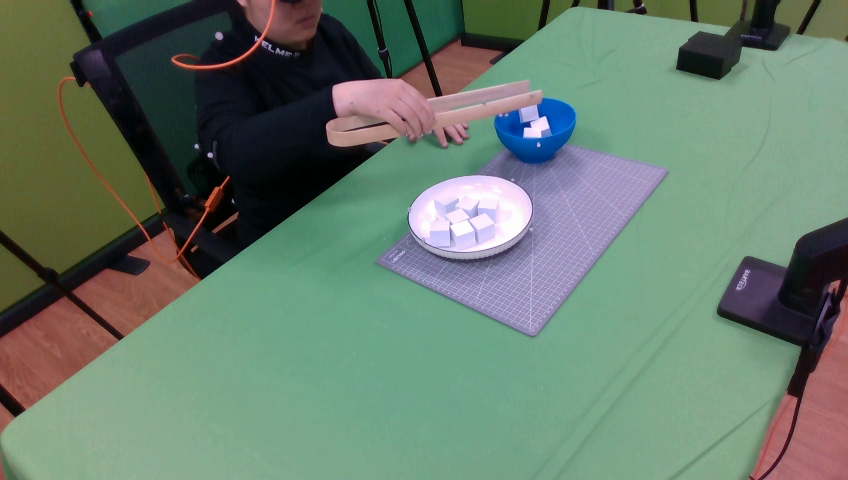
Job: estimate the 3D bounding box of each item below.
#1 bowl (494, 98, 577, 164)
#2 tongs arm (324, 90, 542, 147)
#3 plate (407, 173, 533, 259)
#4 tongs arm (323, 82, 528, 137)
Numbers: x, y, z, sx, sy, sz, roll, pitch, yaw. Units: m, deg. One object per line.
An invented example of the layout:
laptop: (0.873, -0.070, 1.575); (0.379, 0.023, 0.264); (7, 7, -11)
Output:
bowl: (0.207, -0.196, 1.128); (0.151, 0.077, 0.150); (-5, 40, 5)
tongs arm: (0.024, -0.210, 1.017); (0.387, 0.026, 0.050); (-17, 40, -20)
plate: (0.076, -0.037, 0.997); (0.207, 0.039, 0.206); (-5, 40, 5)
tongs arm: (0.012, -0.225, 1.040); (0.389, 0.028, 0.028); (-16, 43, -18)
